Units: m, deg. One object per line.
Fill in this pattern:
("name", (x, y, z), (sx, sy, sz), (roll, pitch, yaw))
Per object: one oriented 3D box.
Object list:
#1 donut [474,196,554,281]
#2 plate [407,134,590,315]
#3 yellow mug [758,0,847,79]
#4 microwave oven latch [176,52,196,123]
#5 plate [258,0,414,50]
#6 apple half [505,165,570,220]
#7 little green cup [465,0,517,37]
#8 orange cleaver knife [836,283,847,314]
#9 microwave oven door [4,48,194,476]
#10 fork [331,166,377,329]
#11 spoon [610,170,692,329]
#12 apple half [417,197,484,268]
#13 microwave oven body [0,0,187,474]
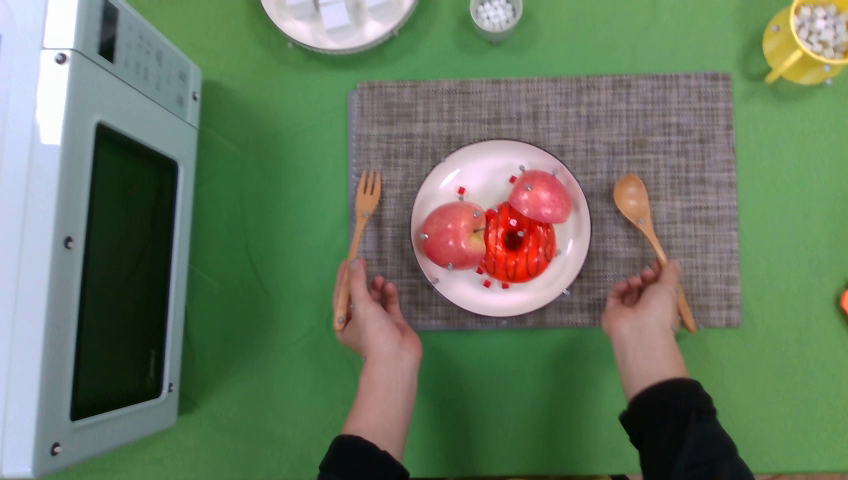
("donut", (0.098, -0.002, 0.689), (0.099, 0.048, 0.099), (0, 88, 5))
("plate", (0.084, -0.018, 0.703), (0.209, 0.038, 0.208), (0, 85, 4))
("yellow mug", (0.433, -0.231, 0.687), (0.131, 0.064, 0.099), (-44, 83, 0))
("microwave oven latch", (-0.293, -0.183, 0.729), (0.030, 0.029, 0.079), (2, 86, 4))
("plate", (-0.105, -0.330, 0.747), (0.207, 0.039, 0.207), (0, 85, 4))
("apple half", (0.133, -0.059, 0.677), (0.081, 0.033, 0.080), (9, 47, -10))
("little green cup", (0.081, -0.277, 0.730), (0.061, 0.039, 0.061), (0, 84, 5))
("orange cleaver knife", (0.525, 0.133, 0.671), (0.077, 0.012, 0.210), (-16, 82, -3))
("microwave oven door", (-0.309, 0.025, 0.609), (0.039, 0.244, 0.355), (1, 85, 5))
("fork", (-0.081, 0.003, 0.695), (0.028, 0.019, 0.205), (8, 62, 2))
("spoon", (0.261, 0.010, 0.690), (0.042, 0.022, 0.193), (-18, 78, -14))
("apple half", (0.024, -0.010, 0.675), (0.074, 0.054, 0.080), (-3, 81, 45))
("microwave oven body", (-0.453, -0.020, 0.629), (0.326, 0.261, 0.440), (1, 86, 4))
